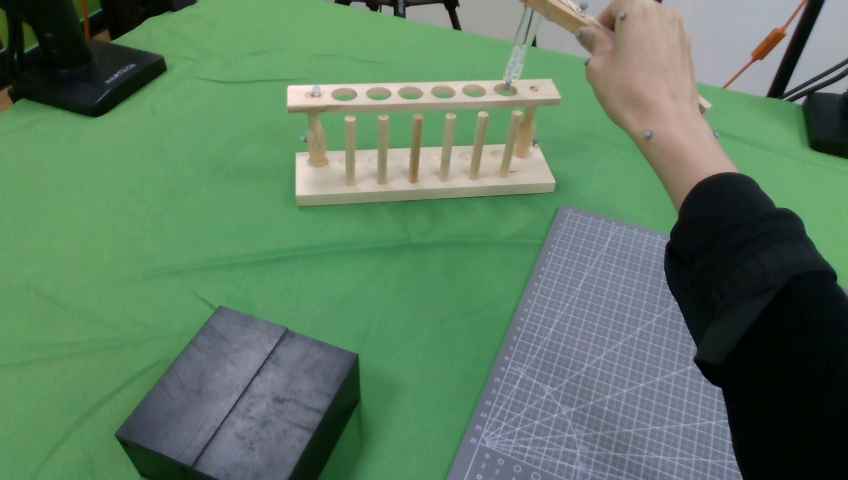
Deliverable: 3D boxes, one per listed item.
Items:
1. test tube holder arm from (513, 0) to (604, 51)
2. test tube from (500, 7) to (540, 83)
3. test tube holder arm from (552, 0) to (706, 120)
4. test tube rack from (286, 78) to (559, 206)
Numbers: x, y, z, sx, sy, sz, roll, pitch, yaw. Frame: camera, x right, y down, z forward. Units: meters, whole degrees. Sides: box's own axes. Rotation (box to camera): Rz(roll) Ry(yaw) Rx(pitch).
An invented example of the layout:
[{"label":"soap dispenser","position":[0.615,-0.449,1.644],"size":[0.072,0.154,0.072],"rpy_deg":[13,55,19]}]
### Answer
[{"label":"test tube holder arm","position":[0.103,-0.175,0.470],"size":[0.087,0.015,0.010],"rpy_deg":[37,56,14]},{"label":"test tube","position":[0.087,-0.187,0.485],"size":[0.017,0.151,0.017],"rpy_deg":[6,53,-8]},{"label":"test tube holder arm","position":[0.138,-0.150,0.461],"size":[0.013,0.015,0.177],"rpy_deg":[-36,69,-30]},{"label":"test tube rack","position":[0.001,-0.092,0.558],"size":[0.243,0.086,0.066],"rpy_deg":[-4,45,-9]}]
